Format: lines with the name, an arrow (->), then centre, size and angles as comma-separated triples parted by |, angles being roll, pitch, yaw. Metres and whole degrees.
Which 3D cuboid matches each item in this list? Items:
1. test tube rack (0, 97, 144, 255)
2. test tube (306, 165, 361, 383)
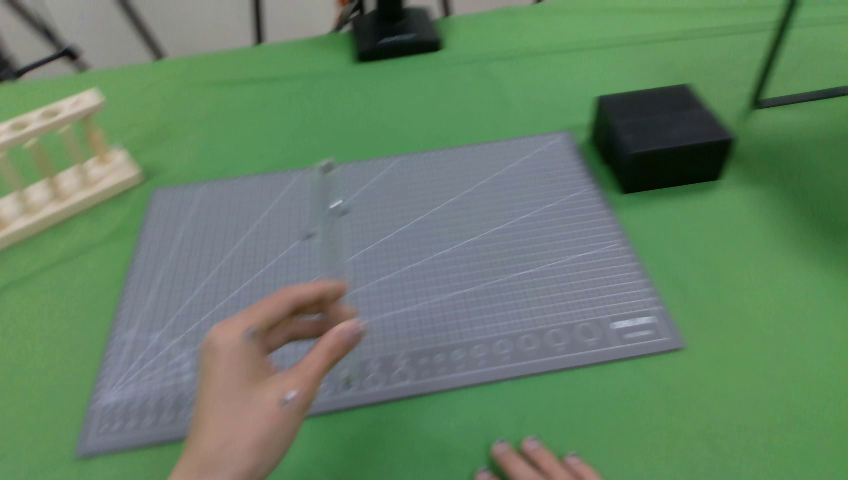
test tube rack -> -0.418, -0.045, 0.591 | 0.242, 0.086, 0.066 | -33, 50, -26
test tube -> -0.050, 0.027, 0.347 | 0.017, 0.151, 0.017 | -1, 34, 1
